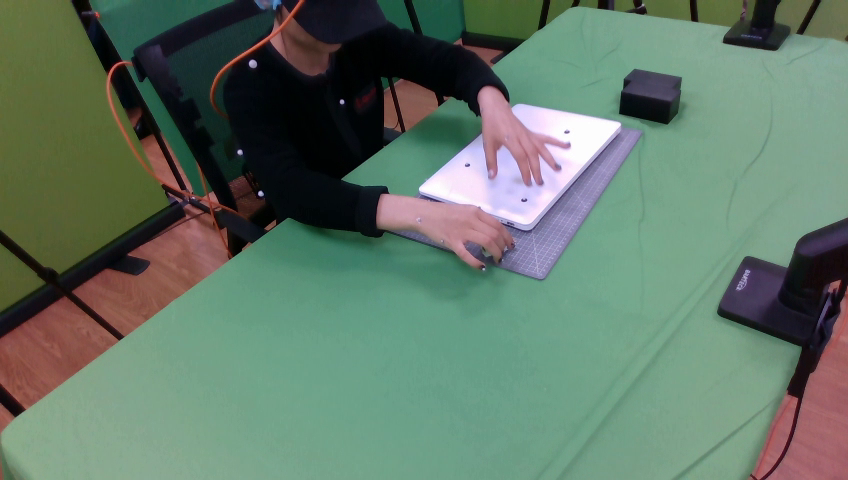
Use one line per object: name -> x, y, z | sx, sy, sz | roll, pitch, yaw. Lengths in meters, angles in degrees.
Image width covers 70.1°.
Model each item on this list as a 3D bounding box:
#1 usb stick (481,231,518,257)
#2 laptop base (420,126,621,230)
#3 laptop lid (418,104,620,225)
usb stick -> 0.119, 0.004, 0.939 | 0.059, 0.027, 0.021 | -16, 39, -20
laptop base -> 0.184, -0.147, 1.123 | 0.233, 0.023, 0.355 | 19, 47, 34
laptop lid -> 0.181, -0.157, 1.116 | 0.239, 0.013, 0.358 | 22, 49, 34
